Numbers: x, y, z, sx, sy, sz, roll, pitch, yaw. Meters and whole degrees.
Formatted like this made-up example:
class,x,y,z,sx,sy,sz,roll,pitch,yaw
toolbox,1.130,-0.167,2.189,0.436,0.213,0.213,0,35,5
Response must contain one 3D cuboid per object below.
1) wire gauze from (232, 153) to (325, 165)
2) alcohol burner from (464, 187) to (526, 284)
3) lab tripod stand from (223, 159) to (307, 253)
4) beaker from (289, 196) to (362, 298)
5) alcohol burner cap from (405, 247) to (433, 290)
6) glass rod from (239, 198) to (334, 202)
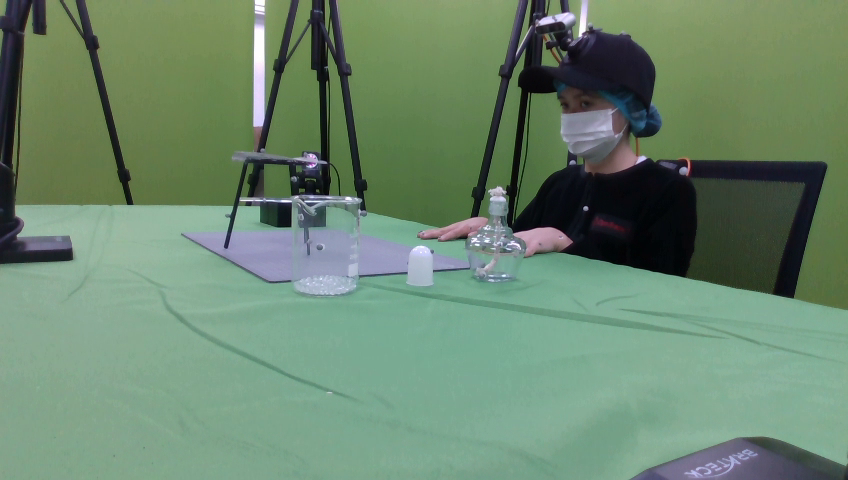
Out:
class,x,y,z,sx,sy,sz,roll,pitch,yaw
wire gauze,-0.214,-0.118,0.881,0.125,0.011,0.121,0,7,-19
alcohol burner,0.089,-0.007,0.747,0.078,0.119,0.078,4,9,0
lab tripod stand,-0.220,-0.053,0.896,0.148,0.131,0.148,1,6,0
beaker,-0.104,0.006,0.627,0.074,0.100,0.084,4,8,11
alcohol burner cap,-0.005,0.031,0.698,0.034,0.048,0.034,3,8,0
glass rod,-0.277,-0.081,1.232,0.201,0.008,0.008,-1,8,-30
